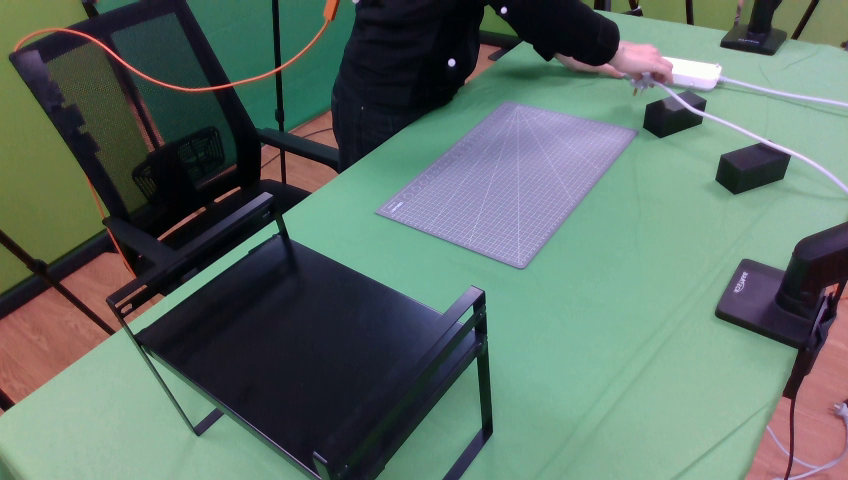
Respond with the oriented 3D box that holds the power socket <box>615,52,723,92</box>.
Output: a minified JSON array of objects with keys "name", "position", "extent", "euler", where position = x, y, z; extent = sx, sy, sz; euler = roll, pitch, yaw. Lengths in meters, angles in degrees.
[{"name":"power socket","position":[0.529,-0.368,1.317],"extent":[0.225,0.033,0.072],"euler":[21,49,28]}]

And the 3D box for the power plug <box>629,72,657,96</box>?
[{"name":"power plug","position":[0.429,-0.304,1.200],"extent":[0.035,0.053,0.072],"euler":[8,38,0]}]
